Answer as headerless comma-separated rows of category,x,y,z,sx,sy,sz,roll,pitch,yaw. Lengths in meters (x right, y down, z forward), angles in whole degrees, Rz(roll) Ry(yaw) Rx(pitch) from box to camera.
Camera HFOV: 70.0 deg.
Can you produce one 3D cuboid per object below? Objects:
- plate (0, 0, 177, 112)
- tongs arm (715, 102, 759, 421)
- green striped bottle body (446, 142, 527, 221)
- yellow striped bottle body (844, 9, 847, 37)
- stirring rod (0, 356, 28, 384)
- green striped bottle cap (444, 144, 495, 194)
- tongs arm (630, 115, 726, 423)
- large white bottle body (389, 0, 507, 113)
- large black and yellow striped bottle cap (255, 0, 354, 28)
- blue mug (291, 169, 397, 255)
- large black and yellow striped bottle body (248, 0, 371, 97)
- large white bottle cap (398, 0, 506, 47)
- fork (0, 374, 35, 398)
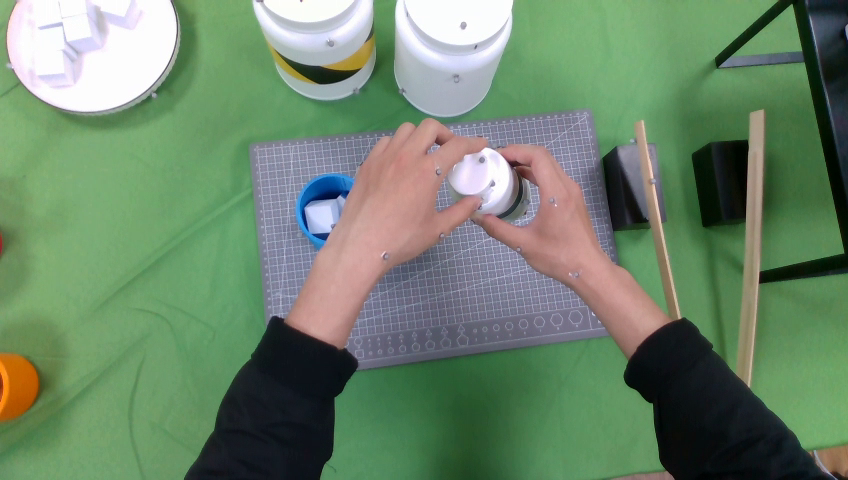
plate,-0.414,-0.257,0.761,0.208,0.039,0.207,1,82,-4
tongs arm,0.387,0.028,0.742,0.028,0.027,0.387,2,93,-12
green striped bottle body,0.062,-0.058,0.604,0.063,0.120,0.063,-3,82,20
yellow striped bottle body,0.485,-0.240,0.596,0.063,0.120,0.062,1,81,-4
stirring rod,-0.501,0.182,0.640,0.014,0.006,0.175,40,38,-1
green striped bottle cap,0.041,-0.064,0.552,0.044,0.020,0.044,-1,86,17
tongs arm,0.307,0.037,0.732,0.051,0.026,0.385,-12,94,-8
large white bottle body,0.025,-0.243,0.715,0.131,0.185,0.130,1,80,-4
large black and yellow striped bottle cap,-0.125,-0.276,0.625,0.115,0.019,0.114,1,82,-5
blue mug,-0.090,-0.030,0.713,0.117,0.106,0.082,0,81,-4
large black and yellow striped bottle body,-0.129,-0.261,0.707,0.131,0.184,0.130,1,81,-4
large white bottle cap,0.029,-0.258,0.632,0.115,0.018,0.114,1,81,-4
fork,-0.528,0.147,0.636,0.209,0.018,0.028,20,75,-44
